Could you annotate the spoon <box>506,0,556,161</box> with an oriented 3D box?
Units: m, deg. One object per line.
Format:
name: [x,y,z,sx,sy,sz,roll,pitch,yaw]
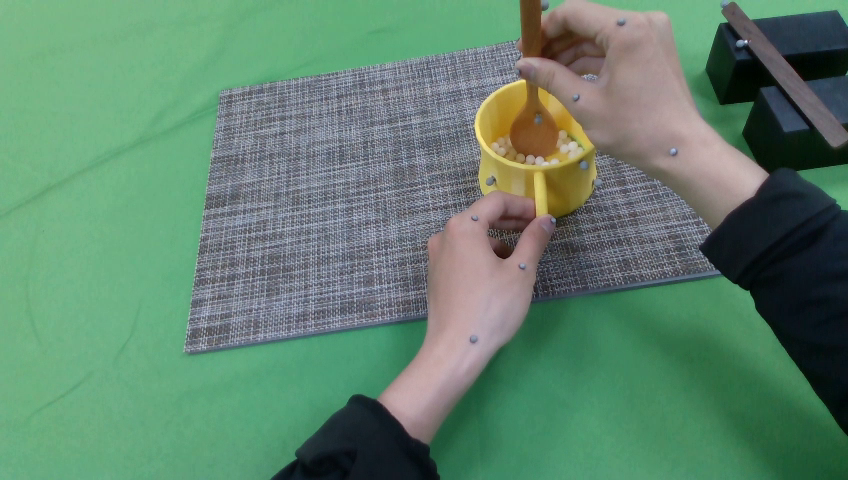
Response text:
spoon: [0.076,-0.111,0.438,0.041,0.195,0.021,4,71,12]

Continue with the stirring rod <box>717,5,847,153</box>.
stirring rod: [0.282,-0.135,0.486,0.014,0.006,0.174,-36,50,27]

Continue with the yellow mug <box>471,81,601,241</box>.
yellow mug: [0.090,-0.059,0.486,0.100,0.064,0.129,-2,56,7]
